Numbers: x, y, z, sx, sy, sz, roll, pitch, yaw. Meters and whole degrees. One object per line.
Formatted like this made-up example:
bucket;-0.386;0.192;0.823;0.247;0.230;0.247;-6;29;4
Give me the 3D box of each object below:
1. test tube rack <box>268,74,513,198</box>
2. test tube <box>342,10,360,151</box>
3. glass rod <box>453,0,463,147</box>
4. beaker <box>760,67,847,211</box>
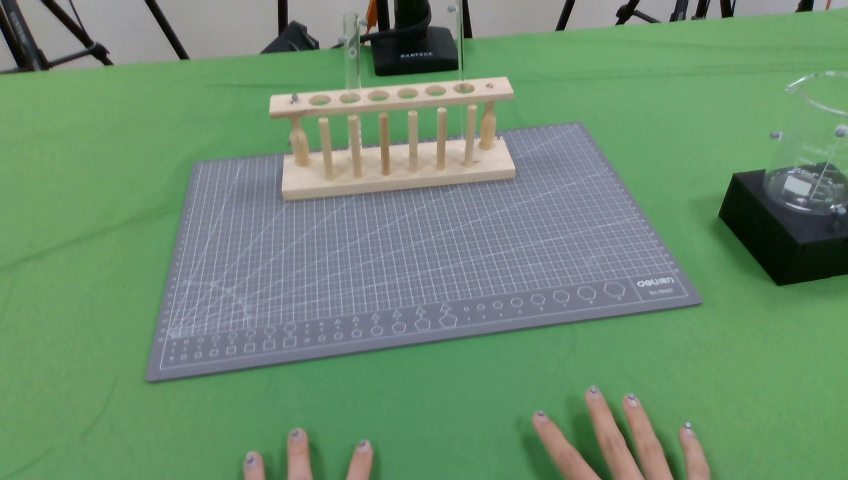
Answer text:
test tube rack;-0.031;-0.108;0.625;0.243;0.086;0.066;-6;43;-5
test tube;-0.072;-0.152;0.600;0.017;0.151;0.017;3;42;-2
glass rod;0.034;-0.184;0.609;0.008;0.201;0.008;-2;36;2
beaker;0.329;-0.082;0.504;0.083;0.101;0.074;23;48;26
